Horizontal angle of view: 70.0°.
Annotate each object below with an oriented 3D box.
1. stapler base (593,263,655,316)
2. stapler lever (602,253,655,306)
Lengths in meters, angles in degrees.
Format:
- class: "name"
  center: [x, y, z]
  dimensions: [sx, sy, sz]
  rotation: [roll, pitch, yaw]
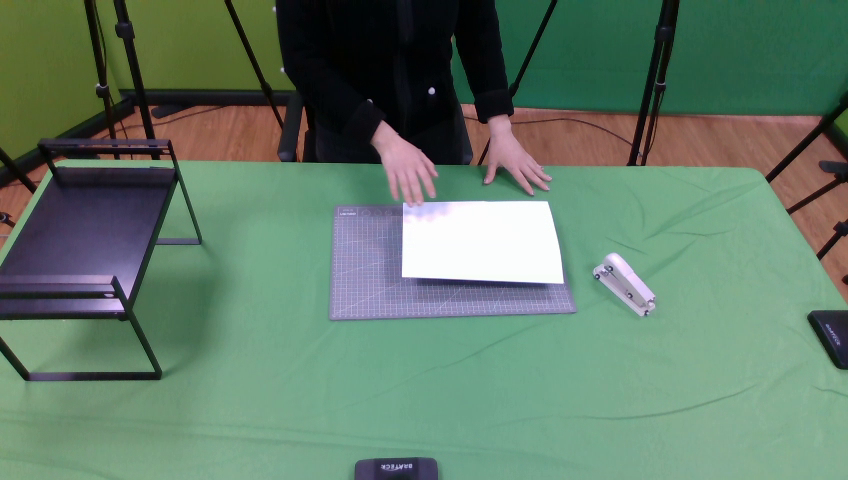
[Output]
- class: "stapler base"
  center: [0.377, 0.086, 1.141]
  dimensions: [0.041, 0.024, 0.130]
  rotation: [-27, 55, -23]
- class: "stapler lever"
  center: [0.379, 0.070, 1.123]
  dimensions: [0.027, 0.040, 0.117]
  rotation: [-27, 54, -23]
